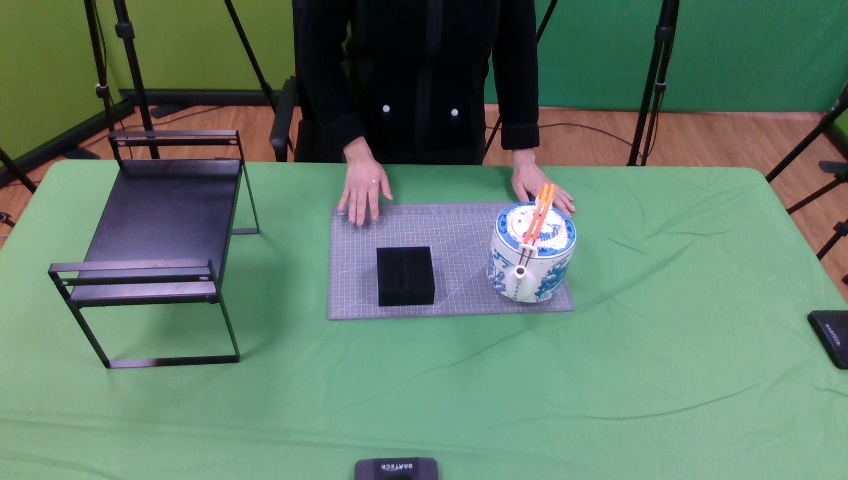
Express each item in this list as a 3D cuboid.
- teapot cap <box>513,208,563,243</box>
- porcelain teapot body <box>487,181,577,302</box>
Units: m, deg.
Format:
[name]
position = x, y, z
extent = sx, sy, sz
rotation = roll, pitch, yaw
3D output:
[teapot cap]
position = 0.196, -0.029, 1.039
extent = 0.085, 0.044, 0.084
rotation = 3, 49, -3
[porcelain teapot body]
position = 0.185, 0.018, 1.048
extent = 0.145, 0.226, 0.204
rotation = 15, 48, 10
